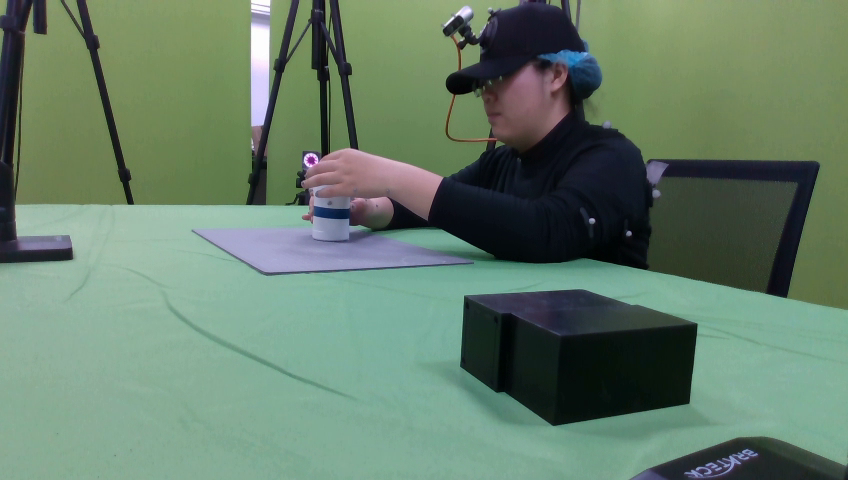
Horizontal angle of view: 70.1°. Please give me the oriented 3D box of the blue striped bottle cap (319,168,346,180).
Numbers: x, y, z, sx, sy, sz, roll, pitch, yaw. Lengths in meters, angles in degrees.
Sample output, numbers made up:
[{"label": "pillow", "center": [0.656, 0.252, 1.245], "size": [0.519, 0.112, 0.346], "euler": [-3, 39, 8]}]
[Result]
[{"label": "blue striped bottle cap", "center": [-0.153, -0.111, 1.012], "size": [0.044, 0.020, 0.044], "euler": [1, 6, 0]}]

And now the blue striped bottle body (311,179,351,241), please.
[{"label": "blue striped bottle body", "center": [-0.156, -0.061, 1.019], "size": [0.063, 0.120, 0.063], "euler": [4, 6, 0]}]
